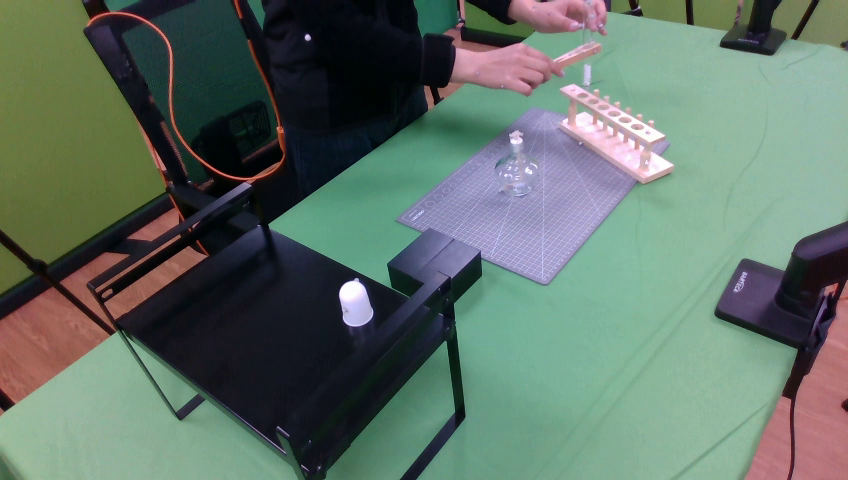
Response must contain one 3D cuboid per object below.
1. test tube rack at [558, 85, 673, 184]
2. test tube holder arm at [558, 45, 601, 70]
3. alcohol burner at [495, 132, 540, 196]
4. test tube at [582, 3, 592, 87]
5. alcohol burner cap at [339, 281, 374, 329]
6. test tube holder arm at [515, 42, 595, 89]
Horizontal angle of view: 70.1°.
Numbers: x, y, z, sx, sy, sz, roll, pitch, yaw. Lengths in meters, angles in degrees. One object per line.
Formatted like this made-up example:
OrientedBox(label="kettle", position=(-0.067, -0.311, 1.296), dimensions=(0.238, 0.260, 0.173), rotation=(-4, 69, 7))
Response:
OrientedBox(label="test tube rack", position=(0.347, -0.203, 1.109), dimensions=(0.067, 0.085, 0.240), rotation=(-22, 42, -17))
OrientedBox(label="test tube holder arm", position=(0.265, -0.314, 1.038), dimensions=(0.088, 0.015, 0.010), rotation=(-24, 45, -14))
OrientedBox(label="alcohol burner", position=(0.160, -0.135, 1.035), dimensions=(0.078, 0.119, 0.077), rotation=(-5, 42, 5))
OrientedBox(label="test tube", position=(0.281, -0.332, 1.042), dimensions=(0.017, 0.151, 0.017), rotation=(-7, 42, 6))
OrientedBox(label="alcohol burner cap", position=(-0.071, 0.063, 0.617), dimensions=(0.034, 0.048, 0.033), rotation=(-4, 39, 4))
OrientedBox(label="test tube holder arm", position=(0.224, -0.296, 1.028), dimensions=(0.179, 0.015, 0.013), rotation=(-30, 46, -20))
